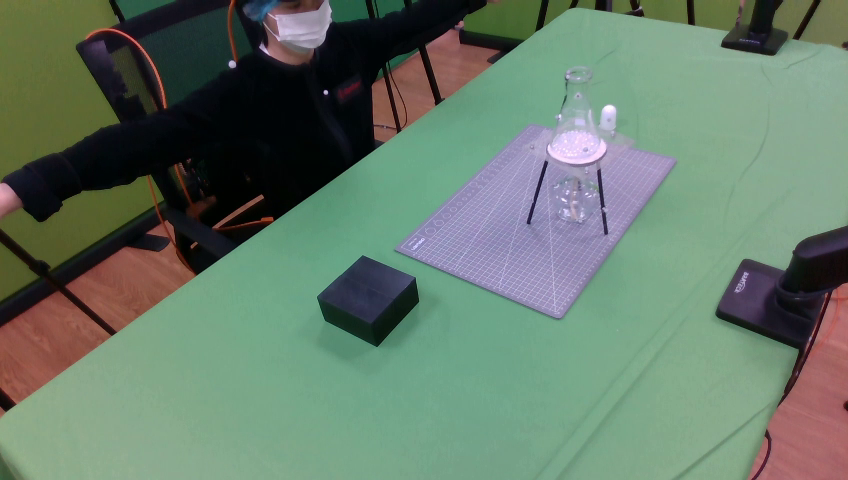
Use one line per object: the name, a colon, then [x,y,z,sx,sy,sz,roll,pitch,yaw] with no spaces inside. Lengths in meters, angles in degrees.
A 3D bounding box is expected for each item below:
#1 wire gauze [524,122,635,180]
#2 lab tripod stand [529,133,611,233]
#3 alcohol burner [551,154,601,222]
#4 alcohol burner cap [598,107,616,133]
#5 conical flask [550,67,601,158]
wire gauze: [0.233,-0.142,0.913,0.122,0.011,0.124,-31,43,-26]
lab tripod stand: [0.236,-0.089,0.953,0.148,0.132,0.147,-5,42,5]
alcohol burner: [0.244,-0.088,0.966,0.078,0.119,0.077,-3,40,3]
alcohol burner cap: [0.361,-0.239,1.189,0.034,0.048,0.033,-4,40,4]
conical flask: [0.221,-0.186,0.875,0.075,0.122,0.075,-5,40,5]
